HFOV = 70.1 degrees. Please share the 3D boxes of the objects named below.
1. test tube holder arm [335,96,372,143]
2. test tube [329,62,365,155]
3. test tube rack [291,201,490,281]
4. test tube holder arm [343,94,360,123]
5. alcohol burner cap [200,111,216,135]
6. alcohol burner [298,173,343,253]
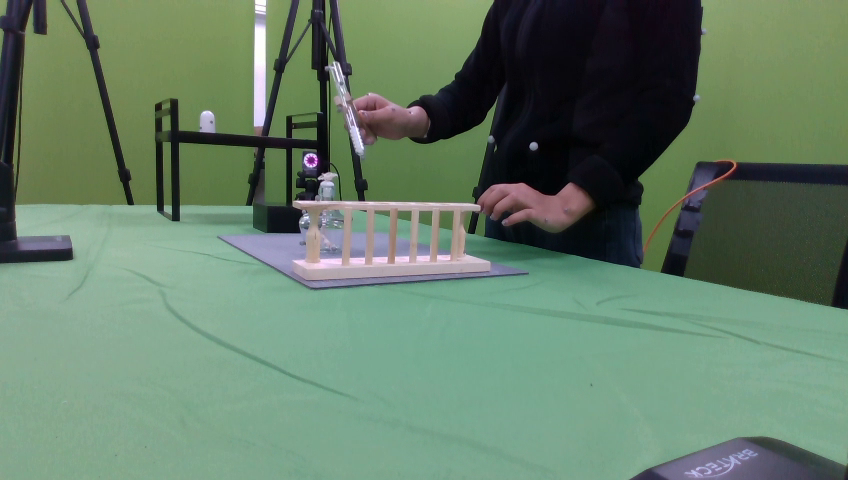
[{"bbox_3d":[-0.110,-0.189,0.963,0.013,0.015,0.179,-12,-11,6],"label":"test tube holder arm"},{"bbox_3d":[-0.113,-0.194,0.895,0.017,0.150,0.017,-17,-11,-3],"label":"test tube"},{"bbox_3d":[-0.035,-0.002,0.745,0.243,0.085,0.066,-1,8,-28],"label":"test tube rack"},{"bbox_3d":[-0.109,-0.197,0.919,0.010,0.015,0.088,-11,-11,0],"label":"test tube holder arm"},{"bbox_3d":[-0.448,-0.243,1.255,0.034,0.048,0.034,2,7,0],"label":"alcohol burner cap"},{"bbox_3d":[-0.146,-0.040,0.894,0.078,0.119,0.078,5,7,0],"label":"alcohol burner"}]
